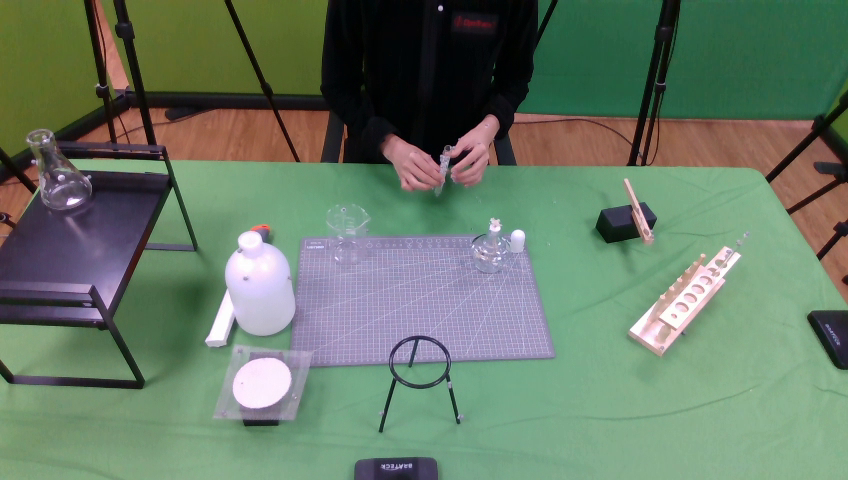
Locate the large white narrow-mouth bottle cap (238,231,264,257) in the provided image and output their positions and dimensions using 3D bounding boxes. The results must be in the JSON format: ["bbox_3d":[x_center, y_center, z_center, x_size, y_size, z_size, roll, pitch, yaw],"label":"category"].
[{"bbox_3d":[-0.266,0.006,0.932,0.038,0.024,0.037,2,46,-2],"label":"large white narrow-mouth bottle cap"}]

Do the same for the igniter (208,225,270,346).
[{"bbox_3d":[-0.331,0.072,1.099,0.057,0.025,0.275,-4,45,10],"label":"igniter"}]

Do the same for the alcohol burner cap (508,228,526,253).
[{"bbox_3d":[0.185,-0.002,1.192,0.034,0.048,0.033,3,44,-2],"label":"alcohol burner cap"}]

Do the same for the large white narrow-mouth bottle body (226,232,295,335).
[{"bbox_3d":[-0.270,0.065,0.995,0.102,0.195,0.101,2,46,-2],"label":"large white narrow-mouth bottle body"}]

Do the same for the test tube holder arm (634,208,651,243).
[{"bbox_3d":[0.428,-0.030,1.189,0.010,0.015,0.087,1,47,-2],"label":"test tube holder arm"}]

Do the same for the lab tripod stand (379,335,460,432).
[{"bbox_3d":[-0.010,0.214,0.911,0.148,0.132,0.147,1,45,0],"label":"lab tripod stand"}]

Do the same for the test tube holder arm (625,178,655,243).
[{"bbox_3d":[0.433,-0.062,1.220,0.013,0.015,0.177,1,47,-3],"label":"test tube holder arm"}]

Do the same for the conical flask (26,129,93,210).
[{"bbox_3d":[-0.575,-0.113,0.946,0.075,0.122,0.075,2,46,-2],"label":"conical flask"}]

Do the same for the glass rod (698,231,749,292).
[{"bbox_3d":[0.515,0.044,1.051,0.008,0.200,0.008,1,55,-1],"label":"glass rod"}]

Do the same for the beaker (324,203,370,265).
[{"bbox_3d":[-0.142,-0.009,1.137,0.084,0.101,0.073,-3,47,-7],"label":"beaker"}]

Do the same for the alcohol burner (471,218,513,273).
[{"bbox_3d":[0.128,0.005,1.132,0.078,0.120,0.077,0,47,0],"label":"alcohol burner"}]

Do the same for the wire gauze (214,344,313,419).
[{"bbox_3d":[-0.241,0.213,0.915,0.121,0.011,0.124,5,46,1],"label":"wire gauze"}]

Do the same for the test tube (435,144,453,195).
[{"bbox_3d":[0.038,-0.135,1.187,0.017,0.151,0.017,4,59,-6],"label":"test tube"}]

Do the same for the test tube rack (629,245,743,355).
[{"bbox_3d":[0.474,0.095,1.091,0.242,0.085,0.066,-34,56,-31],"label":"test tube rack"}]
